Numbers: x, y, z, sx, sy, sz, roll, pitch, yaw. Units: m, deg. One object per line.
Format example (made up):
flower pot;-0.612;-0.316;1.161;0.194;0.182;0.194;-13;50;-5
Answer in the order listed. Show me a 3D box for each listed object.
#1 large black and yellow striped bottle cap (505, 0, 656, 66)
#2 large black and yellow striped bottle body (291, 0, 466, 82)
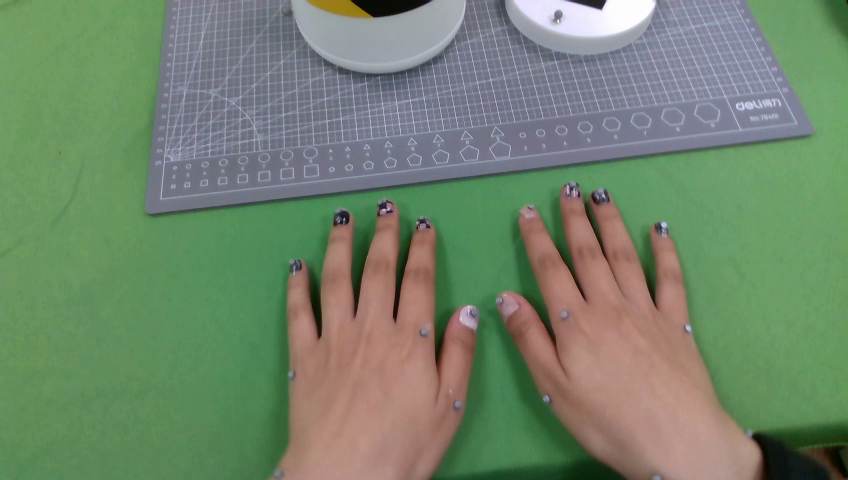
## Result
large black and yellow striped bottle cap;0.120;-0.182;0.470;0.115;0.019;0.114;0;60;1
large black and yellow striped bottle body;-0.035;-0.212;0.393;0.131;0.185;0.129;-1;61;2
